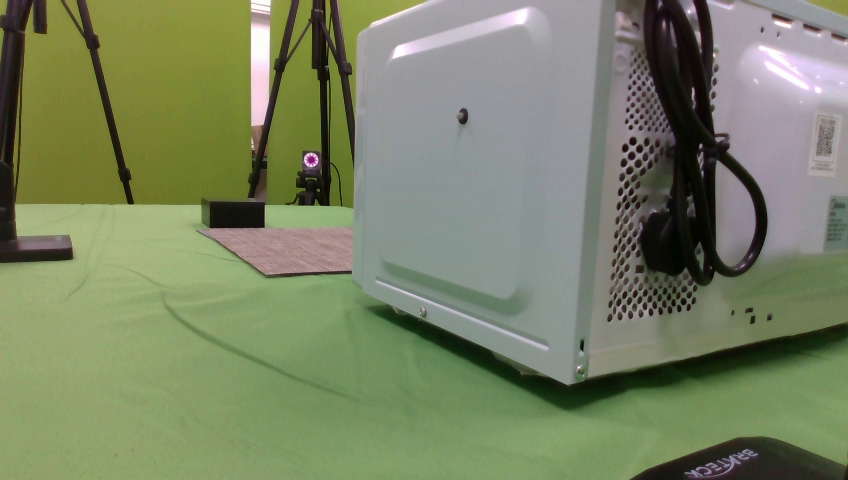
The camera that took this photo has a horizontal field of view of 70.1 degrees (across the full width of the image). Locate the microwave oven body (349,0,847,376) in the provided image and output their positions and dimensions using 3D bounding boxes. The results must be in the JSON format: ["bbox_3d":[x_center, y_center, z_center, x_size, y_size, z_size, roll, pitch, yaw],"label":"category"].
[{"bbox_3d":[0.199,-0.053,0.540,0.444,0.260,0.324,-1,7,-32],"label":"microwave oven body"}]

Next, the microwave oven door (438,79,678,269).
[{"bbox_3d":[0.174,-0.102,0.880,0.354,0.243,0.039,8,9,38],"label":"microwave oven door"}]

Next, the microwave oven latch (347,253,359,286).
[{"bbox_3d":[-0.034,0.028,0.581,0.079,0.029,0.030,-1,7,-31],"label":"microwave oven latch"}]

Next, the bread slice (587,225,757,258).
[{"bbox_3d":[0.225,0.000,0.570,0.132,0.019,0.104,3,6,-23],"label":"bread slice"}]

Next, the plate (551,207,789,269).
[{"bbox_3d":[0.224,-0.004,0.572,0.209,0.038,0.209,3,7,0],"label":"plate"}]
